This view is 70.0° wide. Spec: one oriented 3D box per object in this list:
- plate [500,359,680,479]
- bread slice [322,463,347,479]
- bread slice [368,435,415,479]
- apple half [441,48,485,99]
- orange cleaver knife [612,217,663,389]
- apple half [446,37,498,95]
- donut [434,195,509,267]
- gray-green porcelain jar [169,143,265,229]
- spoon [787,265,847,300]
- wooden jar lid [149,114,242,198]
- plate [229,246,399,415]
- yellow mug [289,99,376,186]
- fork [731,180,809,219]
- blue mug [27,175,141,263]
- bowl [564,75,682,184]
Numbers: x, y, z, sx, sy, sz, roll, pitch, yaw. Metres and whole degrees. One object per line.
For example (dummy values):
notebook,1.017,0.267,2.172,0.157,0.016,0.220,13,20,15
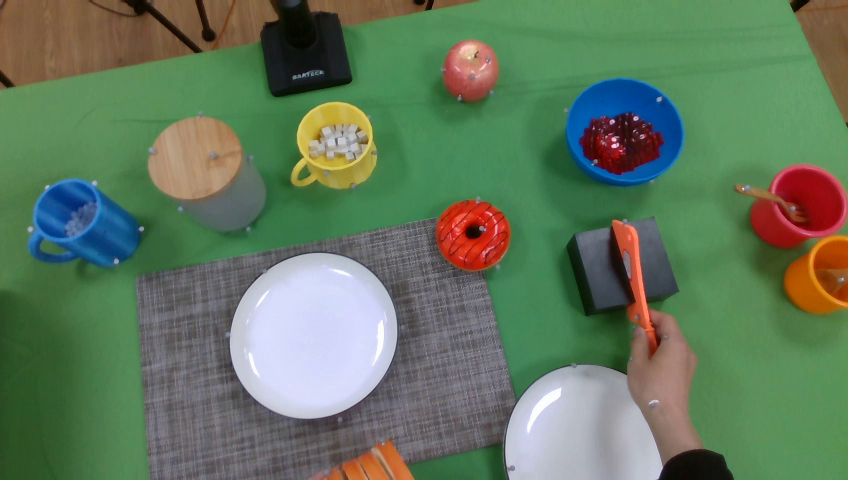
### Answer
plate,0.193,0.248,0.717,0.209,0.038,0.208,0,73,1
bread slice,-0.076,0.287,0.648,0.019,0.132,0.104,-31,73,-16
bread slice,-0.027,0.266,0.657,0.018,0.135,0.106,-28,73,-20
apple half,0.047,-0.222,0.844,0.081,0.082,0.033,43,73,13
orange cleaver knife,0.259,0.074,0.743,0.012,0.077,0.211,-10,88,-2
apple half,0.074,-0.248,0.853,0.053,0.075,0.080,-42,73,-17
donut,0.061,-0.012,0.791,0.099,0.048,0.098,0,73,0
gray-green porcelain jar,-0.266,-0.077,0.774,0.106,0.127,0.105,0,72,0
spoon,0.540,0.026,0.726,0.022,0.193,0.041,6,62,-44
wooden jar lid,-0.267,-0.097,0.715,0.108,0.021,0.107,0,71,1
plate,-0.134,0.112,0.757,0.208,0.039,0.206,0,73,1
yellow mug,-0.130,-0.121,0.819,0.131,0.064,0.099,-42,77,-11
fork,0.432,-0.051,0.751,0.209,0.018,0.028,10,67,-40
blue mug,-0.437,-0.014,0.766,0.116,0.106,0.082,-36,75,-10
bowl,0.257,-0.135,0.814,0.151,0.077,0.150,0,73,1
